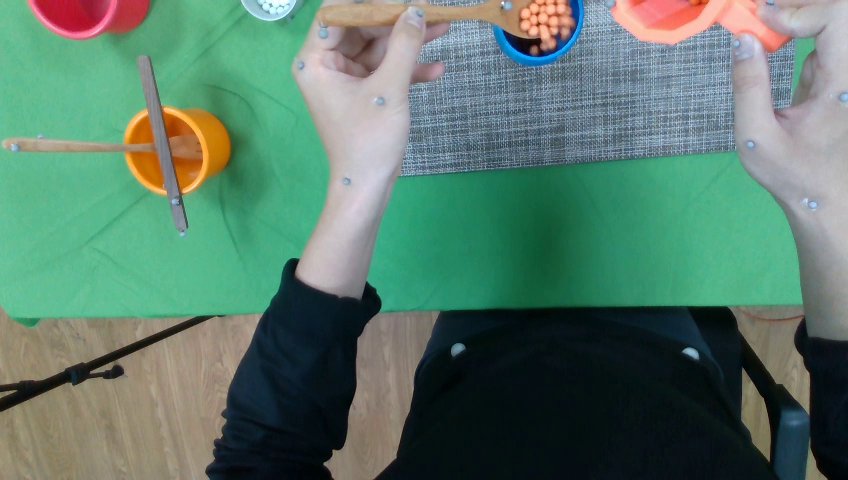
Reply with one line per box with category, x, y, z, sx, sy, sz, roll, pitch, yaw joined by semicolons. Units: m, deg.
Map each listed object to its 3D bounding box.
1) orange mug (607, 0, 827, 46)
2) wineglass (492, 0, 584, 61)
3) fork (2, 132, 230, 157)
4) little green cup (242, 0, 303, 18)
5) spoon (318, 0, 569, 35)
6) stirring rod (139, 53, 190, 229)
orange mug;0.187;-0.172;0.382;0.125;0.101;0.084;50;147;19
wineglass;0.095;-0.192;0.522;0.073;0.171;0.074;2;107;7
fork;-0.303;-0.098;0.617;0.208;0.018;0.028;-6;120;-37
little green cup;-0.150;-0.253;0.606;0.061;0.038;0.062;2;109;7
spoon;0.021;-0.154;0.402;0.194;0.021;0.042;-16;131;-32
stirring rod;-0.261;-0.097;0.610;0.014;0.006;0.177;-3;107;9
